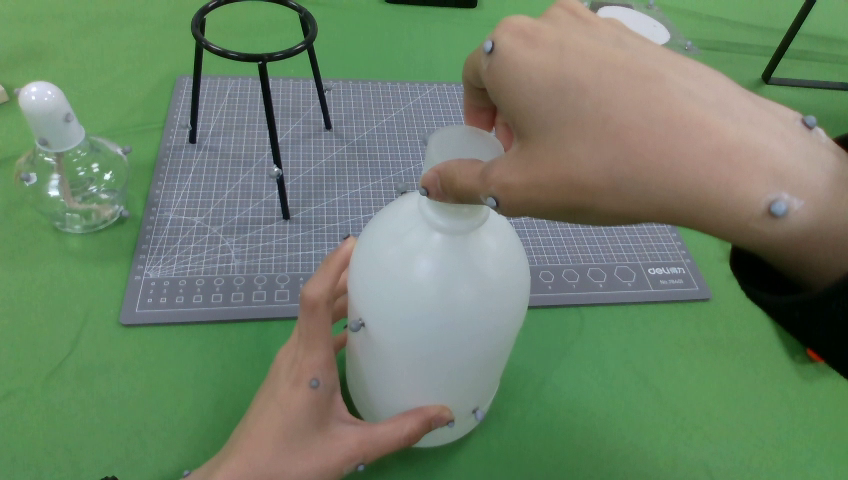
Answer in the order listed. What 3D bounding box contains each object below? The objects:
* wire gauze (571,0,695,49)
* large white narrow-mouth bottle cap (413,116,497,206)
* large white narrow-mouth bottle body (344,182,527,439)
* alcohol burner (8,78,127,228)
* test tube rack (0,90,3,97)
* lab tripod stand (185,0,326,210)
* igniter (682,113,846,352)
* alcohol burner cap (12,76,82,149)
[{"bbox_3d":[0.226,-0.249,0.680,0.122,0.011,0.123,0,50,-11],"label":"wire gauze"},{"bbox_3d":[0.014,-0.035,0.271,0.038,0.024,0.037,4,49,-4],"label":"large white narrow-mouth bottle cap"},{"bbox_3d":[0.005,0.030,0.344,0.102,0.196,0.101,4,49,-4],"label":"large white narrow-mouth bottle body"},{"bbox_3d":[-0.262,-0.066,0.439,0.078,0.120,0.077,5,47,-5],"label":"alcohol burner"},{"bbox_3d":[-0.483,-0.115,0.467,0.066,0.086,0.242,37,54,22],"label":"test tube rack"},{"bbox_3d":[-0.131,-0.118,0.488,0.149,0.132,0.147,6,49,-6],"label":"lab tripod stand"},{"bbox_3d":[0.296,-0.020,0.543,0.057,0.025,0.273,7,48,-16],"label":"igniter"},{"bbox_3d":[-0.258,-0.088,0.411,0.034,0.048,0.033,3,55,-4],"label":"alcohol burner cap"}]
